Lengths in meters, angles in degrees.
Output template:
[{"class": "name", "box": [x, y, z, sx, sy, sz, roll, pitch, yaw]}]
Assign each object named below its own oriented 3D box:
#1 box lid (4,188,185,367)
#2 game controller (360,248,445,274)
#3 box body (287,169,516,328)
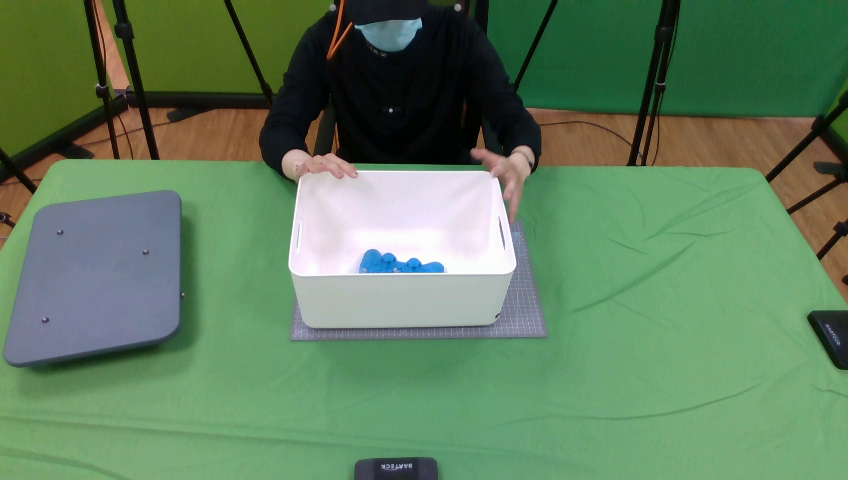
[{"class": "box lid", "box": [-0.558, 0.048, 1.060, 0.264, 0.015, 0.369, -10, 48, -12]}, {"class": "game controller", "box": [-0.043, 0.056, 1.108, 0.155, 0.052, 0.096, 11, 51, 7]}, {"class": "box body", "box": [-0.040, 0.015, 1.075, 0.364, 0.161, 0.252, -1, 47, -4]}]
